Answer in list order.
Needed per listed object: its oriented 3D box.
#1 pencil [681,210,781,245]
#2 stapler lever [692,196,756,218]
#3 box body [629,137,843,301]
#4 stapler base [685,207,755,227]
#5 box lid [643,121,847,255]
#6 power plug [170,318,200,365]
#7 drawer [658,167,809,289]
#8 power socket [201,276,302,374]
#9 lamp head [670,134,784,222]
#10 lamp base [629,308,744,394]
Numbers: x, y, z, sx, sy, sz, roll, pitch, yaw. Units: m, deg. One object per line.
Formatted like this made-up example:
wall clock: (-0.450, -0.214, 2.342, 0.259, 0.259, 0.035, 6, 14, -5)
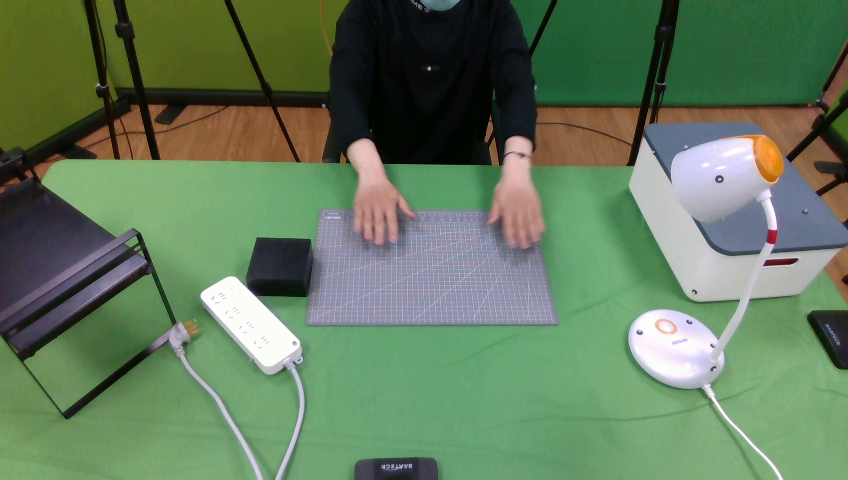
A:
pencil: (0.599, -0.027, 1.186, 0.194, 0.012, 0.012, 19, 48, 10)
stapler lever: (0.588, -0.065, 1.185, 0.118, 0.040, 0.026, 2, 58, 12)
box body: (0.593, -0.062, 1.202, 0.254, 0.161, 0.361, -3, 47, -7)
stapler base: (0.590, -0.051, 1.205, 0.130, 0.024, 0.041, 3, 58, 11)
box lid: (0.596, -0.115, 1.150, 0.263, 0.015, 0.369, -3, 46, -7)
power plug: (-0.392, 0.167, 1.013, 0.052, 0.035, 0.072, -31, 89, -23)
drawer: (0.584, -0.024, 1.164, 0.194, 0.073, 0.210, -11, 55, 3)
power socket: (-0.297, 0.141, 1.034, 0.072, 0.033, 0.225, -34, 58, -30)
lamp head: (0.422, -0.089, 0.829, 0.113, 0.123, 0.112, 8, 74, -32)
lamp base: (0.446, 0.139, 0.987, 0.161, 0.181, 0.178, -19, 53, -20)
